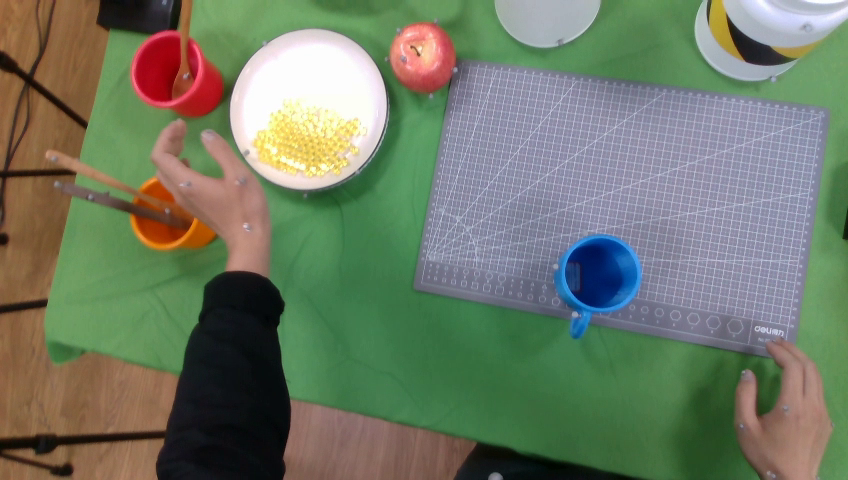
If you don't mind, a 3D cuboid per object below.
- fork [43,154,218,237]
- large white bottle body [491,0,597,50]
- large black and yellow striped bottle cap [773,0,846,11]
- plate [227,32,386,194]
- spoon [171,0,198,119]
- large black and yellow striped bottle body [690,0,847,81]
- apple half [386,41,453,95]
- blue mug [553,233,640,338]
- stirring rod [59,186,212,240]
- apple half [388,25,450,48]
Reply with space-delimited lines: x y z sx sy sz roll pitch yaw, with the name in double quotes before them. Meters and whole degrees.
"fork" -0.352 -0.053 0.741 0.209 0.018 0.028 28 88 -34
"large white bottle body" 0.138 -0.310 0.680 0.130 0.185 0.130 -1 84 8
"large black and yellow striped bottle cap" 0.363 -0.272 0.562 0.115 0.019 0.115 0 87 7
"plate" -0.148 -0.161 0.779 0.209 0.038 0.208 -1 86 8
"spoon" -0.297 -0.236 0.751 0.041 0.021 0.195 30 134 9
"large black and yellow striped bottle body" 0.375 -0.262 0.645 0.130 0.184 0.130 -1 84 8
"apple half" -0.004 -0.207 0.747 0.081 0.075 0.053 -5 89 4
"blue mug" 0.185 0.055 0.682 0.082 0.106 0.116 18 88 9
"stirring rod" -0.347 -0.031 0.741 0.177 0.006 0.014 20 74 -31
"apple half" -0.007 -0.246 0.749 0.081 0.081 0.033 -5 89 8
